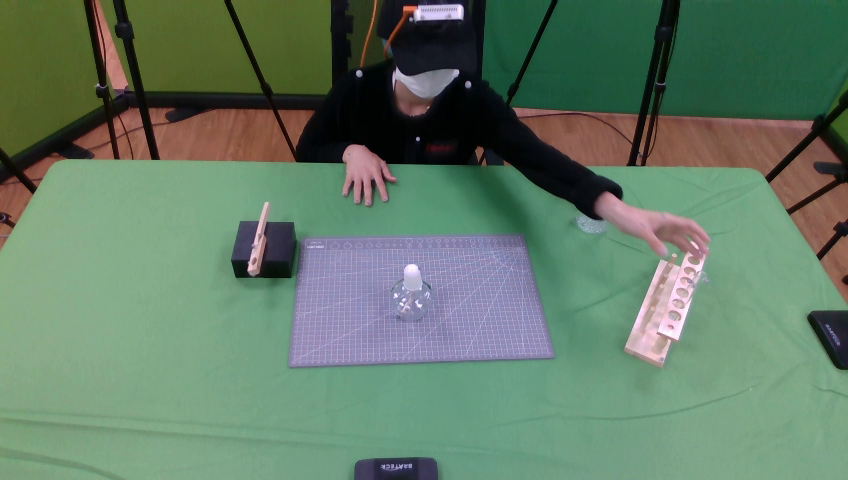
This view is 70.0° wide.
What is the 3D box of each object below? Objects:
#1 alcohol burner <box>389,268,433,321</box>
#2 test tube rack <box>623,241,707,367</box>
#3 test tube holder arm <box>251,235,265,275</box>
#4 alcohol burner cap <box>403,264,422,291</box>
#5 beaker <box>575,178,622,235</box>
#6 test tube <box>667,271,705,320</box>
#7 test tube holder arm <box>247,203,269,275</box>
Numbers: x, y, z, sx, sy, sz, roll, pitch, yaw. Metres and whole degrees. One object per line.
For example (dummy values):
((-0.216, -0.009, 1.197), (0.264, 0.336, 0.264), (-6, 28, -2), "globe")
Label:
((-0.022, 0.086, 1.046), (0.078, 0.119, 0.077), (2, 48, -2), "alcohol burner")
((0.435, 0.104, 1.089), (0.066, 0.085, 0.242), (24, 49, 19), "test tube rack")
((-0.297, 0.025, 1.085), (0.010, 0.015, 0.087), (-5, 45, 2), "test tube holder arm")
((-0.021, 0.060, 1.021), (0.034, 0.048, 0.033), (-1, 46, 2), "alcohol burner cap")
((0.356, -0.068, 1.239), (0.084, 0.101, 0.073), (-18, 50, -22), "beaker")
((0.434, 0.103, 1.020), (0.017, 0.151, 0.017), (4, 48, -4), "test tube")
((-0.304, -0.006, 1.116), (0.013, 0.015, 0.177), (-5, 45, 2), "test tube holder arm")
